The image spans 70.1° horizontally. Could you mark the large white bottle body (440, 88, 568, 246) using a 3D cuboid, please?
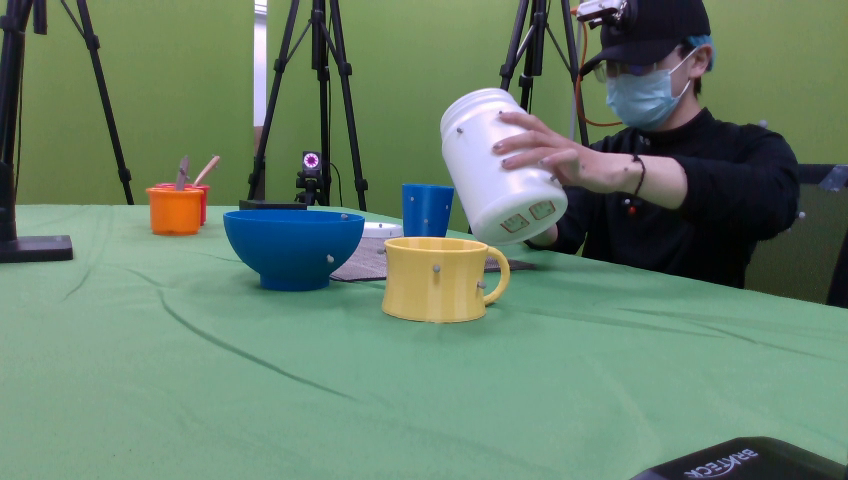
[{"bbox_3d":[0.099,-0.099,0.812,0.131,0.184,0.131,-16,-26,-8],"label":"large white bottle body"}]

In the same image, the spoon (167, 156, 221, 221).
[{"bbox_3d":[-0.447,-0.104,1.191,0.041,0.022,0.193,6,52,15],"label":"spoon"}]

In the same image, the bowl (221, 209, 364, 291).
[{"bbox_3d":[-0.142,0.011,0.660,0.151,0.077,0.151,2,7,0],"label":"bowl"}]

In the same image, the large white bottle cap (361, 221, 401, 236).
[{"bbox_3d":[-0.098,-0.021,1.123,0.115,0.018,0.115,2,7,0],"label":"large white bottle cap"}]

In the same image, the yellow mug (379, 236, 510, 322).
[{"bbox_3d":[0.024,0.034,0.575,0.131,0.064,0.099,1,7,-22],"label":"yellow mug"}]

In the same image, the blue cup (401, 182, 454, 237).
[{"bbox_3d":[0.002,-0.038,0.966,0.093,0.100,0.092,4,9,0],"label":"blue cup"}]

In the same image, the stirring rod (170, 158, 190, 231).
[{"bbox_3d":[-0.426,-0.083,1.059,0.014,0.006,0.175,1,49,-13],"label":"stirring rod"}]
